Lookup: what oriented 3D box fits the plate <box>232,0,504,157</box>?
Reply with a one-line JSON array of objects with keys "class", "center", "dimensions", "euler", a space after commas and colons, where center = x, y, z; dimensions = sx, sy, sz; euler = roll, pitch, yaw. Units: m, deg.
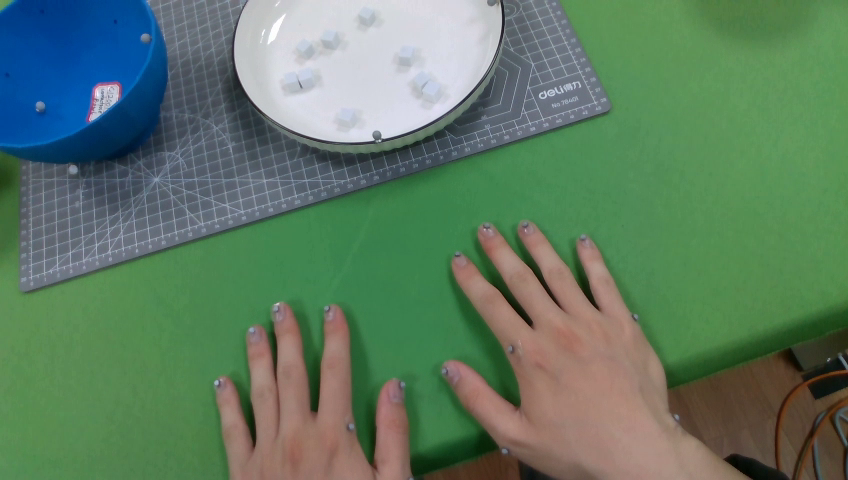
[{"class": "plate", "center": [-0.042, -0.150, 0.469], "dimensions": [0.209, 0.038, 0.207], "euler": [-2, 66, 6]}]

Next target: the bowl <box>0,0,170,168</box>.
[{"class": "bowl", "center": [-0.253, -0.109, 0.456], "dimensions": [0.151, 0.077, 0.150], "euler": [-3, 66, 7]}]
